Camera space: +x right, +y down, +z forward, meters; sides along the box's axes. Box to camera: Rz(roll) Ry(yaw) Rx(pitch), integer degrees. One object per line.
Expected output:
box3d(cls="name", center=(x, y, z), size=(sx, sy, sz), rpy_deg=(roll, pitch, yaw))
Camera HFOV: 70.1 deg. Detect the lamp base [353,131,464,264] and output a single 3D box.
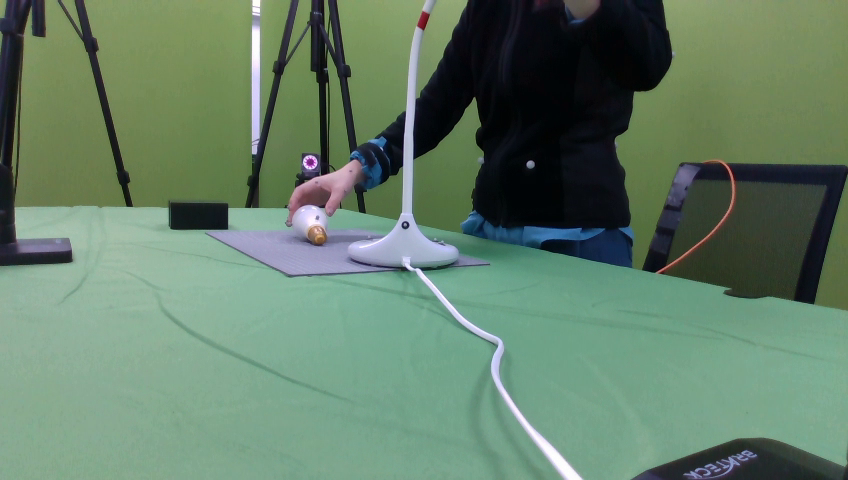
box3d(cls="lamp base", center=(-0.015, -0.062, 0.850), size=(0.161, 0.180, 0.178), rpy_deg=(-1, 11, -20))
